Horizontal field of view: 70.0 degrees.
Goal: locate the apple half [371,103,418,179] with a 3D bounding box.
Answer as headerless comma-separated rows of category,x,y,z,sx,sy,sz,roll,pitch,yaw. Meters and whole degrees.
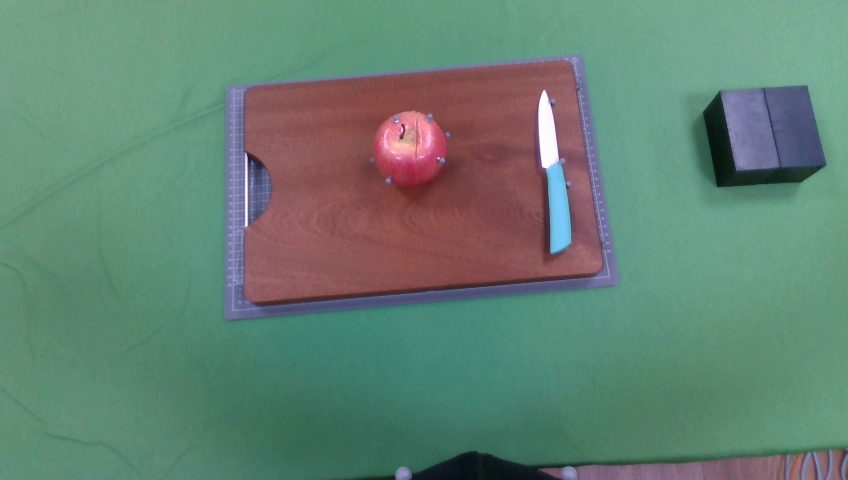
apple half,-0.032,-0.108,0.671,0.053,0.075,0.080,-1,78,6

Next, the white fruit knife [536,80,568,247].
white fruit knife,0.145,-0.092,0.691,0.027,0.016,0.206,1,74,-11

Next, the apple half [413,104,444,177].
apple half,0.007,-0.108,0.668,0.033,0.082,0.081,0,74,5
